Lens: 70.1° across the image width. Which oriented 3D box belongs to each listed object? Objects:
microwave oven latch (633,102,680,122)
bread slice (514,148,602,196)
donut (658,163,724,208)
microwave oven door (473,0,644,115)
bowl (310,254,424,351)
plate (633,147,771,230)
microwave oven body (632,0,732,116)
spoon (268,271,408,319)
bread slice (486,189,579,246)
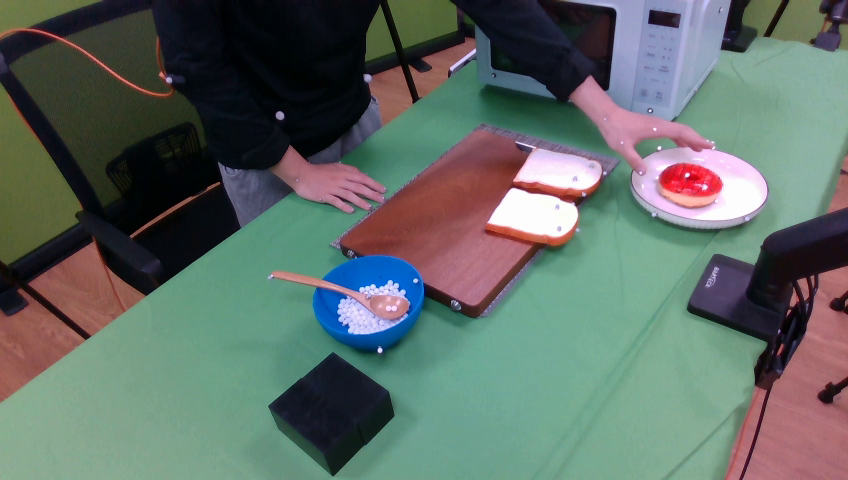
[{"bbox_3d":[0.444,-0.249,1.158,0.078,0.029,0.030,22,49,31],"label":"microwave oven latch"},{"bbox_3d":[0.233,-0.114,1.027,0.133,0.018,0.107,13,45,21],"label":"bread slice"},{"bbox_3d":[0.432,-0.089,0.982,0.099,0.048,0.098,-2,37,2],"label":"donut"},{"bbox_3d":[0.257,-0.396,1.199,0.353,0.245,0.039,21,48,29],"label":"microwave oven door"},{"bbox_3d":[-0.071,0.098,0.821,0.151,0.077,0.150,-4,40,4],"label":"bowl"},{"bbox_3d":[0.448,-0.081,0.988,0.207,0.039,0.206,-4,40,4],"label":"plate"},{"bbox_3d":[0.377,-0.463,1.267,0.438,0.261,0.327,21,49,30],"label":"microwave oven body"},{"bbox_3d":[-0.116,0.069,0.813,0.194,0.021,0.041,18,40,1],"label":"spoon"},{"bbox_3d":[0.176,-0.037,0.946,0.131,0.019,0.105,15,47,24],"label":"bread slice"}]
